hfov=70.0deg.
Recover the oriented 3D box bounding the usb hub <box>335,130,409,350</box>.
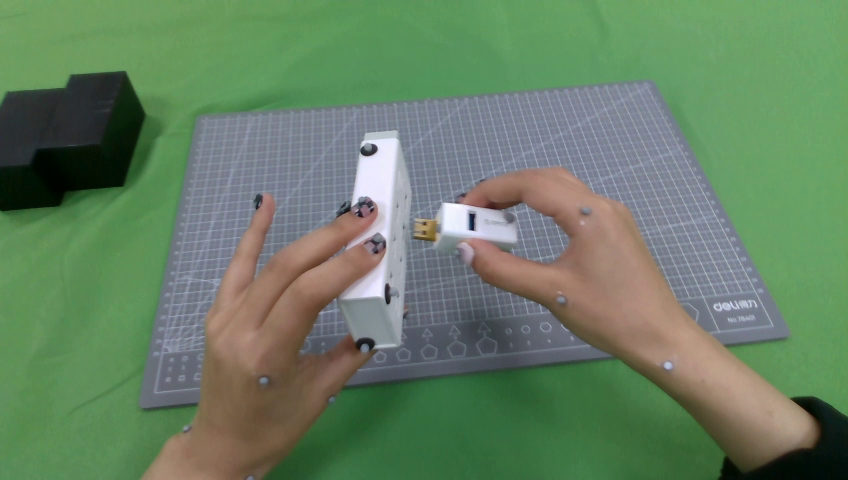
[{"bbox_3d":[-0.026,-0.004,0.343,0.025,0.050,0.124,-5,50,8],"label":"usb hub"}]

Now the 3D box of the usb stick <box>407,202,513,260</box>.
[{"bbox_3d":[0.020,-0.005,0.349,0.059,0.027,0.021,6,59,-5],"label":"usb stick"}]
